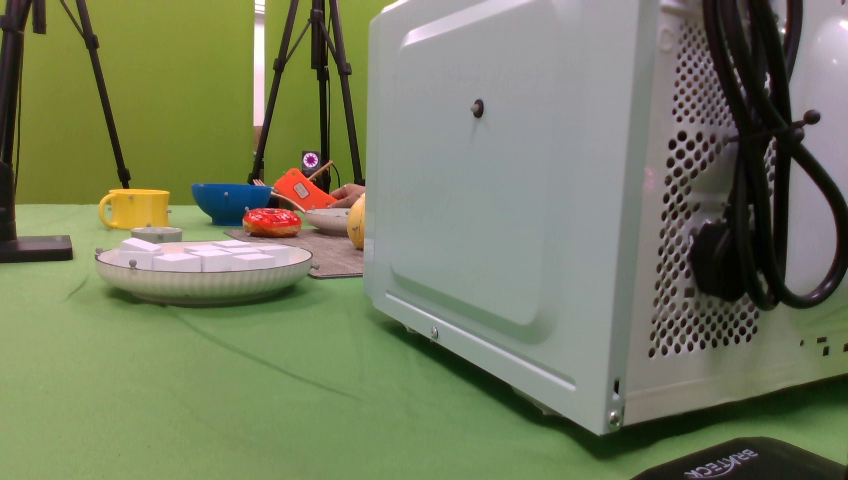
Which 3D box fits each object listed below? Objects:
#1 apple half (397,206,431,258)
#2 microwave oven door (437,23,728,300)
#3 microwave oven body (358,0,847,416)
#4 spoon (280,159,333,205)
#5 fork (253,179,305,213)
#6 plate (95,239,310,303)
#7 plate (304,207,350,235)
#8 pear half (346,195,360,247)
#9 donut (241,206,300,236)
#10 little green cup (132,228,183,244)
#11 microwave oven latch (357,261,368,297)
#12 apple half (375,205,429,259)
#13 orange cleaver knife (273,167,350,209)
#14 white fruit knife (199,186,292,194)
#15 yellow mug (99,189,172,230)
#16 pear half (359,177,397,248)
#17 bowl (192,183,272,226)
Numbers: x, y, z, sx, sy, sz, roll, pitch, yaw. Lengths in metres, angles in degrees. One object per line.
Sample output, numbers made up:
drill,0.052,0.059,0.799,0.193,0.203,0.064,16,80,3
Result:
apple half,-0.009,-0.013,0.862,0.033,0.081,0.081,-5,10,-27
microwave oven door,0.180,-0.072,0.621,0.358,0.243,0.039,-2,9,-29
microwave oven body,0.211,-0.047,0.474,0.444,0.260,0.324,-1,7,-28
spoon,-0.316,-0.159,1.639,0.194,0.022,0.041,-49,32,-20
fork,-0.294,-0.084,1.293,0.206,0.018,0.028,29,12,26
plate,-0.224,0.031,0.629,0.208,0.039,0.207,2,7,0
plate,-0.123,-0.037,1.149,0.209,0.038,0.209,2,7,0
pear half,-0.104,-0.033,0.926,0.031,0.088,0.070,2,12,-2
donut,-0.263,-0.031,1.039,0.099,0.048,0.099,4,10,0
little green cup,-0.342,0.006,0.779,0.061,0.038,0.061,2,8,0
microwave oven latch,-0.019,0.033,0.531,0.079,0.029,0.030,-1,7,-27
apple half,-0.039,-0.011,0.851,0.080,0.074,0.053,15,15,33
orange cleaver knife,-0.237,-0.087,1.360,0.211,0.077,0.012,31,0,-3
white fruit knife,-0.399,-0.111,1.368,0.208,0.016,0.027,-4,-20,-29
yellow mug,-0.519,-0.055,1.080,0.099,0.064,0.131,7,10,26
pear half,-0.068,-0.041,0.924,0.056,0.110,0.076,2,11,-2
bowl,-0.381,-0.071,1.202,0.151,0.077,0.151,3,7,0
